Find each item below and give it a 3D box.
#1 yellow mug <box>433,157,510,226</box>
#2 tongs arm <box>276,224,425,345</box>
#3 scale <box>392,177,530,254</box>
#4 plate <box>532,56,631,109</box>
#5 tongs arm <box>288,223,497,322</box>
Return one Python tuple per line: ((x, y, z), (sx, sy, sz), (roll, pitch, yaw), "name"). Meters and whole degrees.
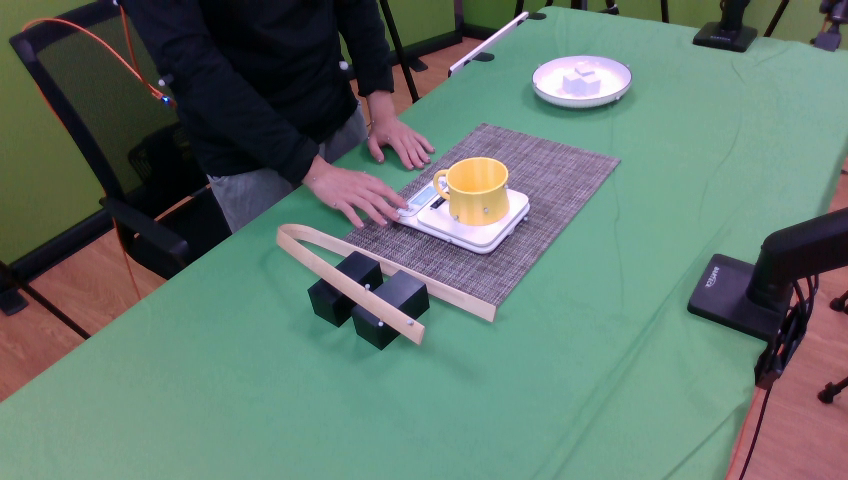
((0.072, -0.082, 0.968), (0.130, 0.064, 0.100), (13, 45, 24), "yellow mug")
((-0.114, 0.050, 0.856), (0.051, 0.026, 0.381), (-7, 24, -43), "tongs arm")
((0.060, -0.050, 1.006), (0.199, 0.032, 0.149), (22, 48, 30), "scale")
((0.336, -0.335, 1.301), (0.207, 0.039, 0.206), (-4, 41, 4), "plate")
((-0.060, 0.043, 0.918), (0.384, 0.028, 0.028), (21, 24, 28), "tongs arm")
